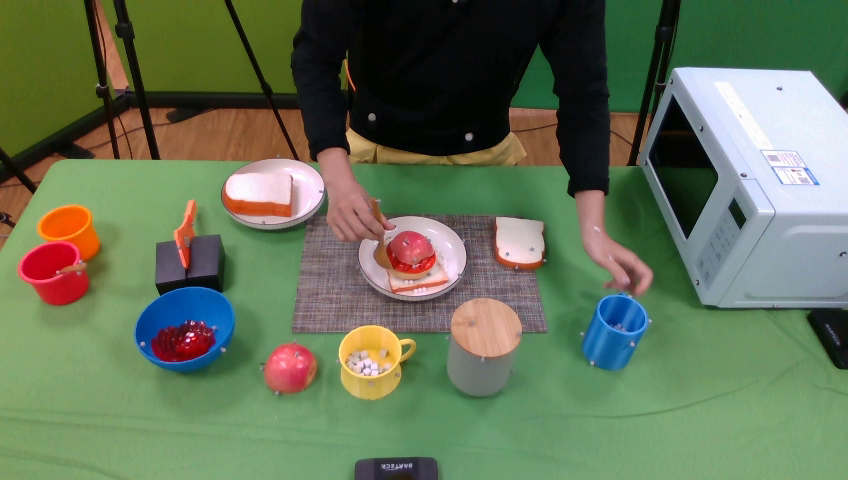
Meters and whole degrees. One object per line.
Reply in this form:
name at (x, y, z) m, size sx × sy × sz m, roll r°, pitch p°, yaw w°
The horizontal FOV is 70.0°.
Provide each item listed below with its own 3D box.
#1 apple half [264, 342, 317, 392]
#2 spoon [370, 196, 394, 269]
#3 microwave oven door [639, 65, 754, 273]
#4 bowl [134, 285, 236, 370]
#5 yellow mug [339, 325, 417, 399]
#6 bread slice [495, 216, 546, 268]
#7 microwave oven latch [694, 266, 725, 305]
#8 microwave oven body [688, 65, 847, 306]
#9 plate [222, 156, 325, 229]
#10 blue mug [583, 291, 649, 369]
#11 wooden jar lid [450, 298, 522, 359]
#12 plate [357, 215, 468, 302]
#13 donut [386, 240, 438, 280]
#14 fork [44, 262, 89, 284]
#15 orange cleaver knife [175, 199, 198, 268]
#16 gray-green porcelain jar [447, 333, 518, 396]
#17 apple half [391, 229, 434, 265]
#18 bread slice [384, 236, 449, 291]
apple half at (-0.214, 0.198, 0.970) m, size 0.074 × 0.053 × 0.080 m, roll 19°, pitch 48°, yaw 10°
spoon at (-0.073, -0.010, 0.998) m, size 0.041 × 0.195 × 0.021 m, roll 28°, pitch 57°, yaw 22°
microwave oven door at (0.522, -0.147, 1.193) m, size 0.039 × 0.245 × 0.353 m, roll 0°, pitch 47°, yaw -3°
bowl at (-0.377, 0.155, 0.981) m, size 0.151 × 0.077 × 0.150 m, roll 2°, pitch 46°, yaw -2°
yellow mug at (-0.072, 0.190, 0.978) m, size 0.131 × 0.064 × 0.099 m, roll -17°, pitch 50°, yaw -20°
bread slice at (0.194, 0.002, 1.205) m, size 0.105 × 0.019 × 0.131 m, roll 5°, pitch 45°, yaw 2°
microwave oven latch at (0.523, 0.082, 1.115) m, size 0.030 × 0.029 × 0.078 m, roll 3°, pitch 46°, yaw 0°
microwave oven body at (0.669, -0.111, 1.176) m, size 0.326 × 0.261 × 0.439 m, roll 0°, pitch 46°, yaw -3°
plate at (-0.308, -0.095, 1.251) m, size 0.209 × 0.038 × 0.208 m, roll 2°, pitch 47°, yaw -2°
blue mug at (0.324, 0.142, 1.023) m, size 0.082 × 0.106 × 0.116 m, roll 15°, pitch 47°, yaw 11°
wooden jar lid at (0.093, 0.135, 0.914) m, size 0.108 × 0.021 × 0.107 m, roll 2°, pitch 48°, yaw -3°
plate at (-0.022, 0.037, 1.141) m, size 0.208 × 0.039 × 0.206 m, roll 2°, pitch 46°, yaw -2°
donut at (-0.025, 0.030, 1.109) m, size 0.099 × 0.048 × 0.098 m, roll 2°, pitch 47°, yaw -1°
fork at (-0.598, 0.054, 1.014) m, size 0.207 × 0.019 × 0.028 m, roll -15°, pitch 29°, yaw 45°
orange cleaver knife at (-0.438, -0.017, 1.138) m, size 0.012 × 0.077 × 0.210 m, roll -13°, pitch 27°, yaw -7°
gray-green porcelain jar at (0.091, 0.178, 0.960) m, size 0.106 × 0.127 × 0.105 m, roll 2°, pitch 46°, yaw -2°
apple half at (-0.021, 0.003, 1.085) m, size 0.081 × 0.033 × 0.081 m, roll 7°, pitch 45°, yaw -7°
bread slice at (-0.026, 0.038, 1.138) m, size 0.107 × 0.018 × 0.133 m, roll -12°, pitch 46°, yaw -15°
